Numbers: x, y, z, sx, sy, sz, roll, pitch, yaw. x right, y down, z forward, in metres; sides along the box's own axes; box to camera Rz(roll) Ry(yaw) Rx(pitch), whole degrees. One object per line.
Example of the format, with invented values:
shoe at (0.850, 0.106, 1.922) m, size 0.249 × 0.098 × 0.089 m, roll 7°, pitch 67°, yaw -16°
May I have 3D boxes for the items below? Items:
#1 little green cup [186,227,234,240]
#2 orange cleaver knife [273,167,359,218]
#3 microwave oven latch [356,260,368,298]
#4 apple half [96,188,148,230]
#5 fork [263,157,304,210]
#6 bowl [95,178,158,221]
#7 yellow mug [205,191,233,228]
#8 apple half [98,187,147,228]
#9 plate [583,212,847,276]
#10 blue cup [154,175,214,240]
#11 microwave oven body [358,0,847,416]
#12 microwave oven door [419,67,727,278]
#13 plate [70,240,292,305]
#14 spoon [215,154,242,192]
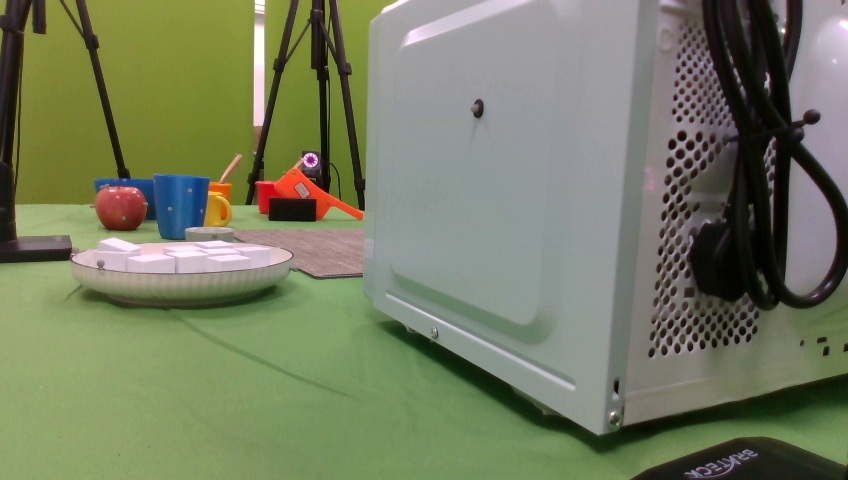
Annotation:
little green cup at (-0.284, 0.005, 0.805) m, size 0.061 × 0.038 × 0.061 m, roll 2°, pitch 8°, yaw 0°
orange cleaver knife at (-0.238, -0.091, 1.381) m, size 0.212 × 0.077 × 0.012 m, roll 31°, pitch 0°, yaw -19°
microwave oven latch at (-0.019, 0.033, 0.529) m, size 0.079 × 0.029 × 0.030 m, roll 0°, pitch 7°, yaw -24°
apple half at (-0.517, -0.052, 1.036) m, size 0.081 × 0.074 × 0.053 m, roll 2°, pitch 10°, yaw -26°
fork at (-0.345, -0.143, 1.506) m, size 0.028 × 0.019 × 0.207 m, roll -4°, pitch 46°, yaw 28°
bowl at (-0.576, -0.081, 1.217) m, size 0.151 × 0.077 × 0.151 m, roll 3°, pitch 8°, yaw 0°
yellow mug at (-0.415, -0.057, 1.131) m, size 0.130 × 0.064 × 0.100 m, roll 6°, pitch 8°, yaw 16°
apple half at (-0.534, -0.059, 1.071) m, size 0.082 × 0.081 × 0.032 m, roll -1°, pitch 11°, yaw -25°
plate at (0.239, 0.000, 0.510) m, size 0.209 × 0.038 × 0.209 m, roll 2°, pitch 6°, yaw 0°
blue cup at (-0.390, -0.053, 0.978) m, size 0.093 × 0.100 × 0.092 m, roll 3°, pitch 6°, yaw 0°
microwave oven body at (0.211, -0.047, 0.474) m, size 0.444 × 0.260 × 0.324 m, roll -1°, pitch 8°, yaw -28°
microwave oven door at (0.170, -0.089, 0.751) m, size 0.355 × 0.243 × 0.039 m, roll 4°, pitch 8°, yaw 17°
plate at (-0.242, 0.031, 0.618) m, size 0.208 × 0.039 × 0.207 m, roll 2°, pitch 8°, yaw 0°
spoon at (-0.438, -0.124, 1.318) m, size 0.041 × 0.193 × 0.022 m, roll 6°, pitch -36°, yaw 15°
